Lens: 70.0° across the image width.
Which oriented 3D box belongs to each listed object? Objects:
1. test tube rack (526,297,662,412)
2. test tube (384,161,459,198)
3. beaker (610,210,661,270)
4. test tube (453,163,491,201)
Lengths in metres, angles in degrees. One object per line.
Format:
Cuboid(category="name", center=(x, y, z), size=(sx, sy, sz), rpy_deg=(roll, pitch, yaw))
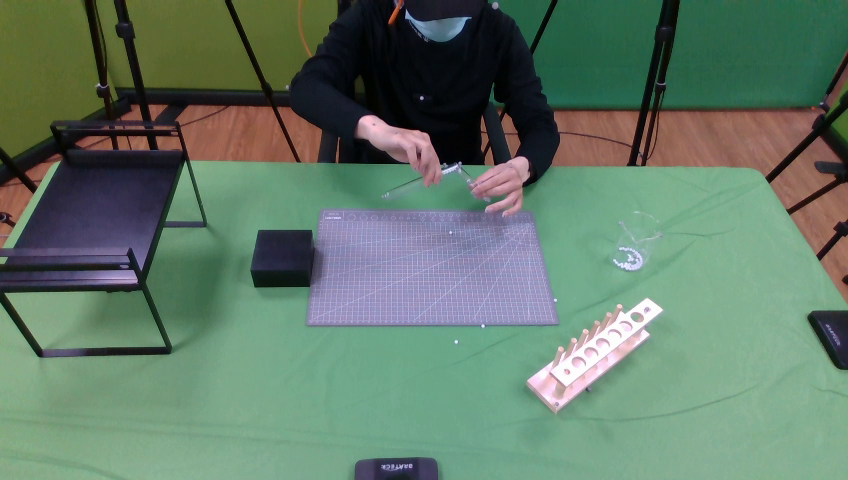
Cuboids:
Cuboid(category="test tube rack", center=(0.284, 0.176, 1.007), size=(0.242, 0.085, 0.066), rpy_deg=(-29, 54, -27))
Cuboid(category="test tube", center=(-0.005, -0.110, 1.103), size=(0.150, 0.017, 0.017), rpy_deg=(-24, 52, -14))
Cuboid(category="beaker", center=(0.404, 0.005, 1.170), size=(0.074, 0.101, 0.083), rpy_deg=(19, 49, 15))
Cuboid(category="test tube", center=(0.096, -0.110, 1.182), size=(0.017, 0.151, 0.017), rpy_deg=(-13, 63, 27))
